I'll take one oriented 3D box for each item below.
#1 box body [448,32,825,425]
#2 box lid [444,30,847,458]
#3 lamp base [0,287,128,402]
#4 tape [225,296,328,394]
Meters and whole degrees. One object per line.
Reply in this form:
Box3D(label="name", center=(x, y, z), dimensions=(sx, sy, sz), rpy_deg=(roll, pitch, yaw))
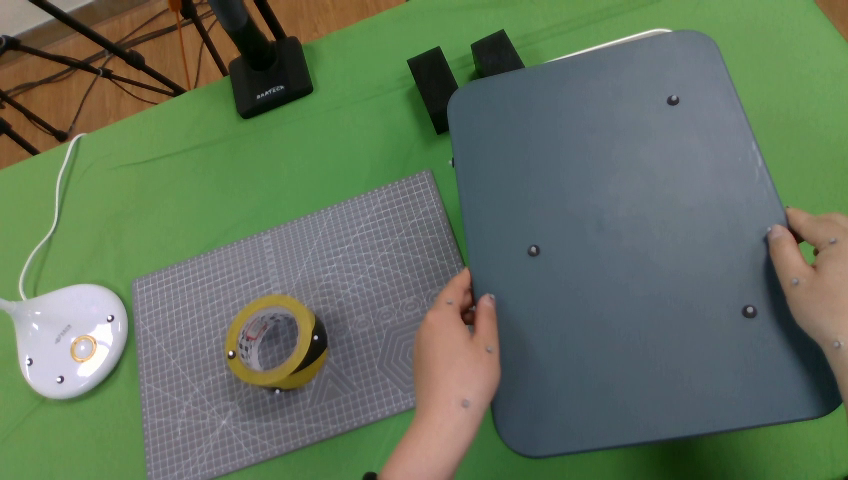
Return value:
Box3D(label="box body", center=(0.195, -0.006, 0.650), dimensions=(0.254, 0.162, 0.360), rpy_deg=(-16, 64, 7))
Box3D(label="box lid", center=(0.163, -0.018, 0.526), dimensions=(0.263, 0.015, 0.368), rpy_deg=(-12, 64, 9))
Box3D(label="lamp base", center=(-0.508, 0.107, 0.764), dimensions=(0.178, 0.182, 0.160), rpy_deg=(16, 72, 23))
Box3D(label="tape", center=(-0.182, 0.128, 0.744), dimensions=(0.116, 0.053, 0.116), rpy_deg=(-5, 66, 11))
